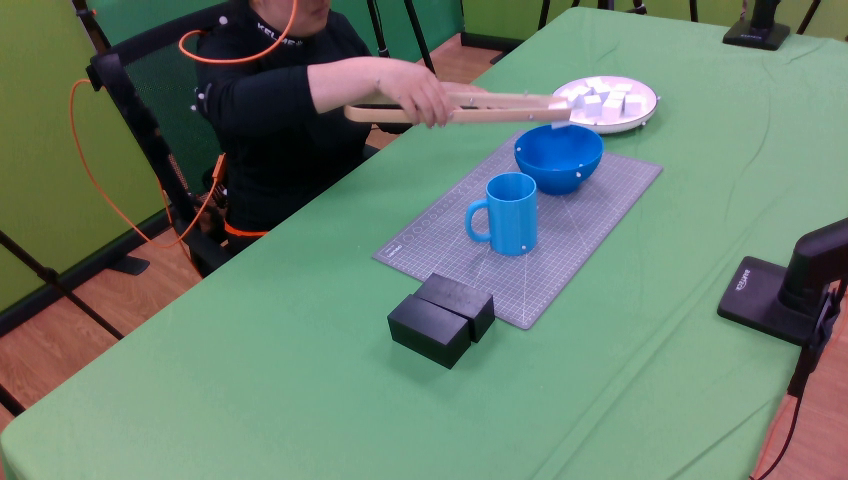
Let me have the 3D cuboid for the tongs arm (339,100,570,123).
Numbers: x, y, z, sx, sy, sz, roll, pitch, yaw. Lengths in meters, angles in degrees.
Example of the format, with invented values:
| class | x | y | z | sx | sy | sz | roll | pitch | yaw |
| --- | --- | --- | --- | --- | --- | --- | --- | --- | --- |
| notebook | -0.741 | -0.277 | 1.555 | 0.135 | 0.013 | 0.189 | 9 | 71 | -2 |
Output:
| class | x | y | z | sx | sy | sz | roll | pitch | yaw |
| --- | --- | --- | --- | --- | --- | --- | --- | --- | --- |
| tongs arm | 0.050 | -0.214 | 1.016 | 0.388 | 0.028 | 0.028 | 1 | 47 | 0 |

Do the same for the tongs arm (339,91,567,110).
| class | x | y | z | sx | sy | sz | roll | pitch | yaw |
| --- | --- | --- | --- | --- | --- | --- | --- | --- | --- |
| tongs arm | 0.051 | -0.230 | 1.033 | 0.385 | 0.026 | 0.050 | 4 | 44 | 3 |

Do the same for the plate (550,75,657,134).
| class | x | y | z | sx | sy | sz | roll | pitch | yaw |
| --- | --- | --- | --- | --- | --- | --- | --- | --- | --- |
| plate | 0.357 | -0.269 | 1.220 | 0.209 | 0.038 | 0.208 | -5 | 40 | 5 |

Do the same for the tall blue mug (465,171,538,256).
| class | x | y | z | sx | sy | sz | roll | pitch | yaw |
| --- | --- | --- | --- | --- | --- | --- | --- | --- | --- |
| tall blue mug | 0.125 | -0.033 | 0.925 | 0.107 | 0.108 | 0.077 | -32 | 46 | -25 |

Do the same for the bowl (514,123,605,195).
| class | x | y | z | sx | sy | sz | roll | pitch | yaw |
| --- | --- | --- | --- | --- | --- | --- | --- | --- | --- |
| bowl | 0.232 | -0.131 | 1.045 | 0.151 | 0.077 | 0.150 | -5 | 40 | 5 |
